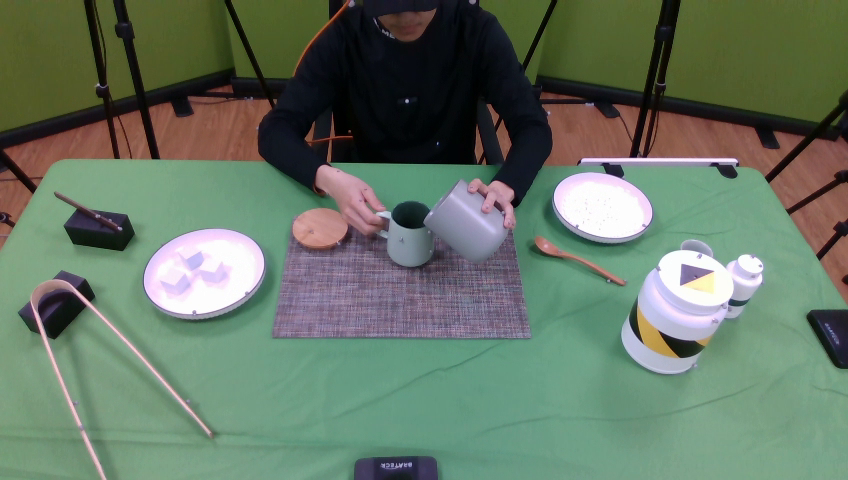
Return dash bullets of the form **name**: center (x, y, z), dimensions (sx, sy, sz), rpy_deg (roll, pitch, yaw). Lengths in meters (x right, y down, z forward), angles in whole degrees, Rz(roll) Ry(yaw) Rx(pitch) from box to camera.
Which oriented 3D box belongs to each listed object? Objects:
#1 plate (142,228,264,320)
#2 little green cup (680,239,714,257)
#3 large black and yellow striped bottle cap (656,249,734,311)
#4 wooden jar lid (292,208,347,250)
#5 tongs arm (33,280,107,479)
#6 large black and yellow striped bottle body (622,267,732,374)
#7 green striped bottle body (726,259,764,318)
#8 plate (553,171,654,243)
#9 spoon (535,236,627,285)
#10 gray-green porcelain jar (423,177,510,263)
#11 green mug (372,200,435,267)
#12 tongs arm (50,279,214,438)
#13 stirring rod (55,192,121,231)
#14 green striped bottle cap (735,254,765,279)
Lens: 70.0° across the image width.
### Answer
- **plate**: center (-0.394, 0.064, 1.095), dimensions (0.208, 0.039, 0.206), rpy_deg (2, 46, -2)
- **little green cup**: center (0.530, 0.033, 1.189), dimensions (0.061, 0.039, 0.061), rpy_deg (2, 47, -2)
- **large black and yellow striped bottle cap**: center (0.419, 0.061, 0.938), dimensions (0.115, 0.019, 0.114), rpy_deg (2, 47, -2)
- **wooden jar lid**: center (-0.205, -0.020, 1.196), dimensions (0.108, 0.021, 0.107), rpy_deg (3, 46, -3)
- **tongs arm**: center (-0.517, 0.214, 0.909), dimensions (0.051, 0.026, 0.383), rpy_deg (-29, 63, -27)
- **large black and yellow striped bottle body**: center (0.415, 0.119, 0.997), dimensions (0.131, 0.185, 0.130), rpy_deg (2, 46, -2)
- **green striped bottle body**: center (0.563, 0.081, 1.089), dimensions (0.063, 0.120, 0.063), rpy_deg (2, 46, -2)
- **plate**: center (0.373, -0.066, 1.274), dimensions (0.209, 0.038, 0.208), rpy_deg (2, 46, -2)
- **spoon**: center (0.303, 0.040, 1.178), dimensions (0.193, 0.022, 0.041), rpy_deg (25, 32, 20)
- **gray-green porcelain jar**: center (0.079, -0.030, 1.066), dimensions (0.126, 0.106, 0.105), rpy_deg (40, 50, -6)
- **green mug**: center (-0.040, -0.016, 1.146), dimensions (0.125, 0.105, 0.092), rpy_deg (17, 48, 12)
- **tongs arm**: center (-0.459, 0.178, 0.949), dimensions (0.386, 0.028, 0.028), rpy_deg (37, 60, 17)
- **stirring rod**: center (-0.632, -0.055, 1.138), dimensions (0.175, 0.014, 0.006), rpy_deg (24, 50, 19)
- **green striped bottle cap**: center (0.566, 0.046, 1.051), dimensions (0.044, 0.020, 0.044), rpy_deg (0, 45, 0)
